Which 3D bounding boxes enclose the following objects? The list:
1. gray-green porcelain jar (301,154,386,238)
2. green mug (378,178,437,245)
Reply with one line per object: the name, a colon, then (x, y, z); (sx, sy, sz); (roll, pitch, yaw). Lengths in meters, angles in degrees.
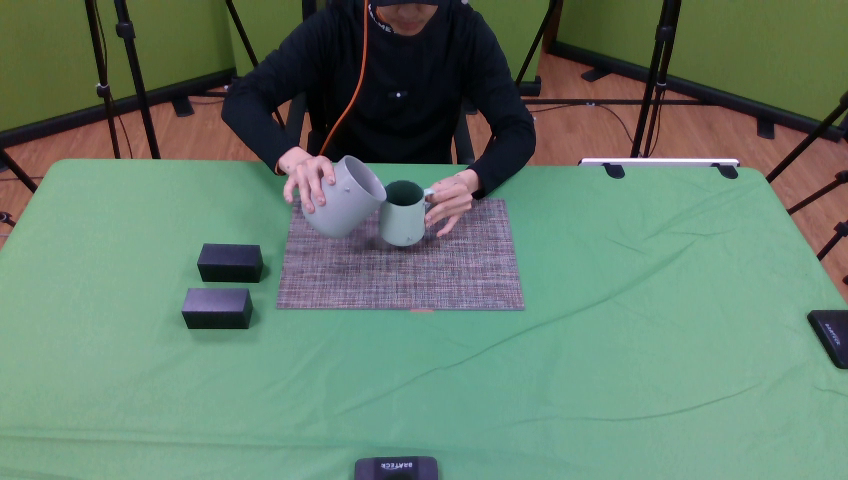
gray-green porcelain jar: (-0.148, -0.073, 1.084); (0.126, 0.106, 0.105); (-40, 47, 19)
green mug: (-0.028, -0.058, 1.152); (0.125, 0.105, 0.092); (-25, 52, -27)
